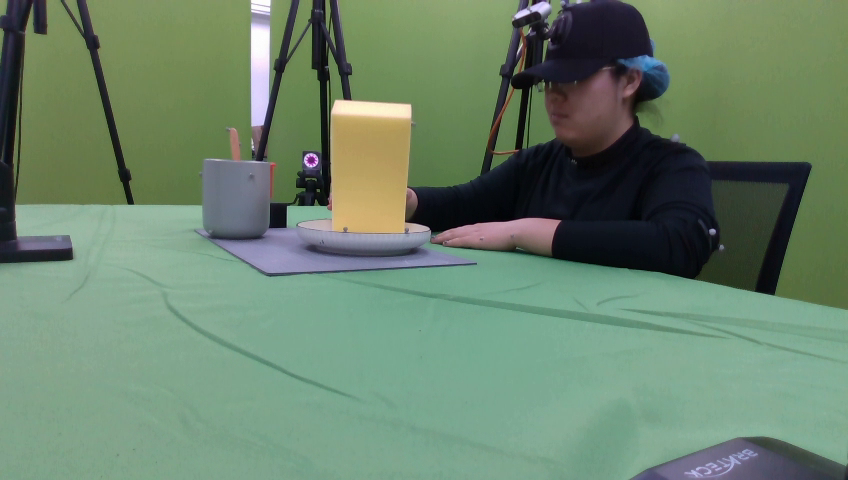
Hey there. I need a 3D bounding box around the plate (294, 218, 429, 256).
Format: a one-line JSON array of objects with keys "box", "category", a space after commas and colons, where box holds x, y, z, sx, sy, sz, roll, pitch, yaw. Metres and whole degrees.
[{"box": [-0.096, -0.005, 0.936, 0.208, 0.039, 0.207, 3, 7, 0], "category": "plate"}]

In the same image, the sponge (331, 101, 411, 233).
[{"box": [-0.085, -0.109, 0.953, 0.118, 0.207, 0.061, 3, 33, -4], "category": "sponge"}]

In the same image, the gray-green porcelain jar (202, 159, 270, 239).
[{"box": [-0.310, -0.068, 0.999, 0.106, 0.126, 0.106, 3, 8, 0], "category": "gray-green porcelain jar"}]

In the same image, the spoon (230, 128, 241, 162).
[{"box": [-0.314, -0.109, 1.025, 0.042, 0.193, 0.021, -5, -19, -16], "category": "spoon"}]
